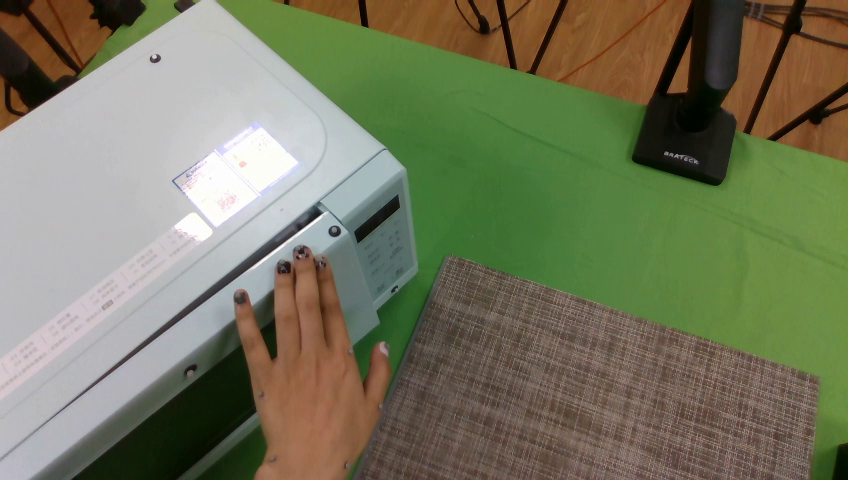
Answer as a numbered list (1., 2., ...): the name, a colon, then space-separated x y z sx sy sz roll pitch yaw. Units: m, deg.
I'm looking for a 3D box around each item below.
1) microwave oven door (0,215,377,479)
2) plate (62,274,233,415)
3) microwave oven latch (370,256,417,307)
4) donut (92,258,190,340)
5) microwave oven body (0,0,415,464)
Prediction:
1. microwave oven door: -0.201 0.143 0.567 0.355 0.245 0.039 -40 69 -16
2. plate: -0.293 0.097 0.640 0.209 0.038 0.207 -5 58 8
3. microwave oven latch: -0.043 0.044 0.722 0.079 0.030 0.030 -41 70 -15
4. donut: -0.309 0.065 0.665 0.099 0.048 0.098 6 53 -8
5. microwave oven body: -0.278 0.021 0.633 0.441 0.262 0.324 -42 71 -16
